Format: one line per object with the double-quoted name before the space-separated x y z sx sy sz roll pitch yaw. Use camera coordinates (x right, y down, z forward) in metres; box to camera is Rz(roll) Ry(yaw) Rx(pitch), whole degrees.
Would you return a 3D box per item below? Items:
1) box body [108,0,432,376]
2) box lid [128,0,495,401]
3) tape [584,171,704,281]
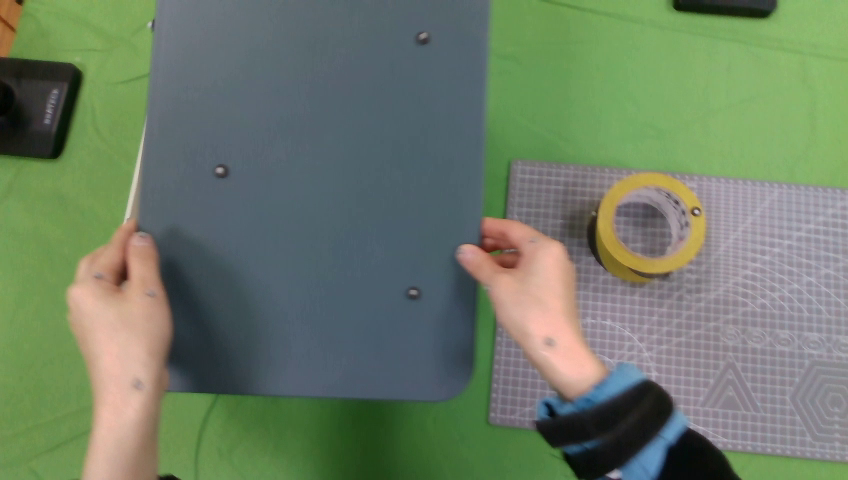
"box body" -0.129 -0.052 0.619 0.254 0.161 0.362 4 77 2
"box lid" -0.081 -0.065 0.476 0.264 0.015 0.371 4 87 -6
"tape" 0.237 -0.013 0.654 0.117 0.053 0.116 0 77 2
